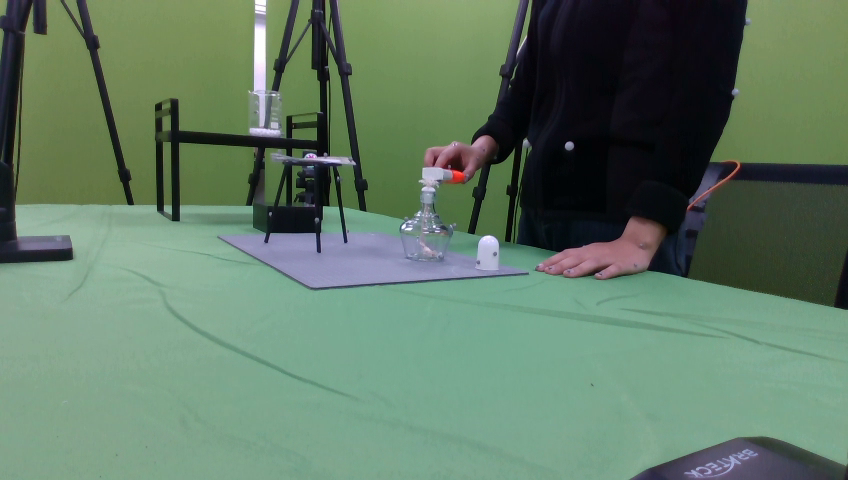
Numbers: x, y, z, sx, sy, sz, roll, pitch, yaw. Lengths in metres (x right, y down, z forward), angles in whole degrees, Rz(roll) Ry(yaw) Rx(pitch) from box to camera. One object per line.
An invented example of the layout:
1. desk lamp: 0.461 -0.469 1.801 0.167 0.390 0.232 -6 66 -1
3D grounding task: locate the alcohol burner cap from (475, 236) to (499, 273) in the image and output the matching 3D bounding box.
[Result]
1. alcohol burner cap: 0.084 0.018 0.799 0.034 0.048 0.034 2 6 0

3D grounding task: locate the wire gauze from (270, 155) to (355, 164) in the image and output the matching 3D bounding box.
1. wire gauze: -0.174 -0.123 0.925 0.125 0.011 0.121 0 8 -12

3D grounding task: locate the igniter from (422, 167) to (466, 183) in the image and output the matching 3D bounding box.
1. igniter: 0.036 -0.108 1.004 0.057 0.025 0.277 2 5 10

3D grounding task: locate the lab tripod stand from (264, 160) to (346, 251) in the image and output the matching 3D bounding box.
1. lab tripod stand: -0.177 -0.057 0.930 0.148 0.131 0.148 1 8 0

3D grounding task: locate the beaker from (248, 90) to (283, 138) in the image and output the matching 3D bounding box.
1. beaker: -0.354 -0.278 1.340 0.074 0.100 0.084 6 9 26

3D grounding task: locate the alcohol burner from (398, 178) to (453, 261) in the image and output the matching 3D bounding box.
1. alcohol burner: 0.004 -0.029 0.860 0.078 0.119 0.078 4 7 0
